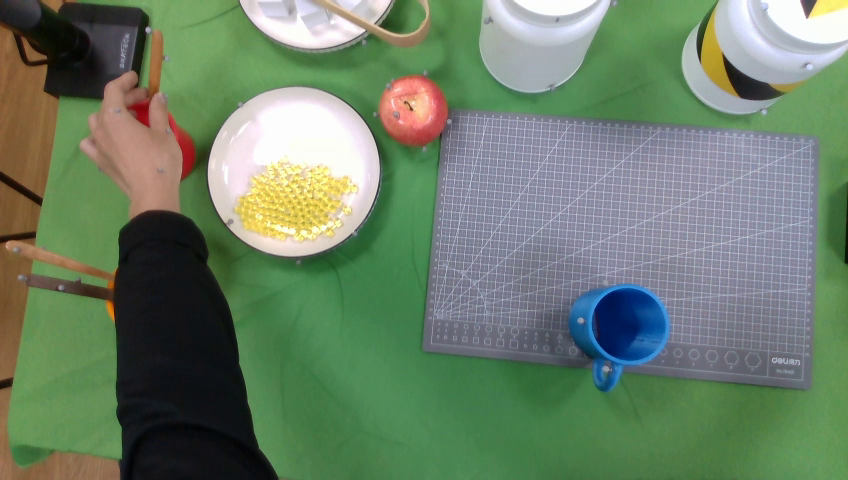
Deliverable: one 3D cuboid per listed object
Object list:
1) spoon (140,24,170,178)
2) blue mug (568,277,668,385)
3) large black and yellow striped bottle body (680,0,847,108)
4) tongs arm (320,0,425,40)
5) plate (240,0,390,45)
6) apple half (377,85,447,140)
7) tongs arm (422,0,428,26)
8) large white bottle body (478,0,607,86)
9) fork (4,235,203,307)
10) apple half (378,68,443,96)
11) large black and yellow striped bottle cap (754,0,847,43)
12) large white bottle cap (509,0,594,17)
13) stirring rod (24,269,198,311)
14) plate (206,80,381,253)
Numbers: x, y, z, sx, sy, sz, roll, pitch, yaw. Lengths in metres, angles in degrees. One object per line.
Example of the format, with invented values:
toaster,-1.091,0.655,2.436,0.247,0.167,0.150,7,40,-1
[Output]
spoon,-0.306,-0.152,0.688,0.041,0.195,0.021,28,42,7
blue mug,0.204,0.100,0.661,0.082,0.106,0.116,13,85,4
large black and yellow striped bottle body,0.370,-0.231,0.647,0.131,0.184,0.130,0,84,3
tongs arm,-0.171,-0.337,0.719,0.384,0.026,0.050,34,83,7
plate,-0.131,-0.338,0.750,0.207,0.039,0.207,0,85,2
apple half,-0.012,-0.145,0.711,0.081,0.074,0.053,-9,88,-2
tongs arm,-0.118,-0.402,0.725,0.028,0.028,0.386,-41,82,-8
large white bottle body,0.127,-0.260,0.659,0.130,0.185,0.130,0,84,3
fork,-0.345,0.036,0.668,0.209,0.018,0.028,26,84,-39
apple half,-0.018,-0.183,0.713,0.081,0.081,0.033,-10,89,2
large black and yellow striped bottle cap,0.366,-0.242,0.564,0.115,0.019,0.115,0,86,2
large white bottle cap,0.122,-0.269,0.575,0.115,0.018,0.114,0,84,3
stirring rod,-0.338,0.057,0.668,0.178,0.006,0.014,17,71,-36
plate,-0.154,-0.087,0.728,0.209,0.038,0.208,0,85,3
